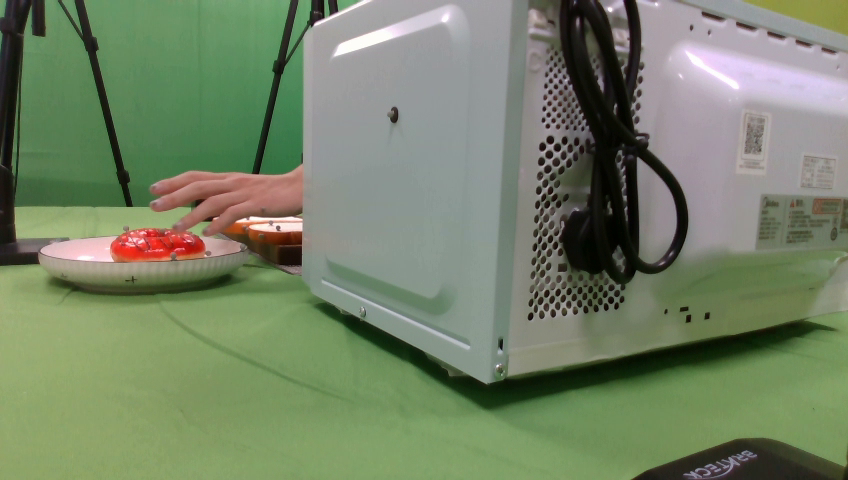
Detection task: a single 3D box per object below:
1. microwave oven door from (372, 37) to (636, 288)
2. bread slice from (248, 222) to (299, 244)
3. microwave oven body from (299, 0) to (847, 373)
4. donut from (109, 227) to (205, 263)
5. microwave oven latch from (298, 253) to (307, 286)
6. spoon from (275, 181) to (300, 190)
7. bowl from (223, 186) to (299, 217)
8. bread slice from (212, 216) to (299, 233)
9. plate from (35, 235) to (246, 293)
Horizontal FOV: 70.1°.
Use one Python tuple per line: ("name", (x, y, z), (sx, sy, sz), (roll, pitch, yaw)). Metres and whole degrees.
("microwave oven door", (0.109, -0.080, 0.686), (0.358, 0.243, 0.039), (-2, 9, -33))
("bread slice", (-0.174, -0.011, 0.844), (0.135, 0.018, 0.106), (-6, 10, -44))
("microwave oven body", (0.151, -0.055, 0.542), (0.444, 0.260, 0.324), (-2, 7, -33))
("donut", (-0.298, 0.013, 0.680), (0.099, 0.048, 0.099), (4, 10, 0))
("microwave oven latch", (-0.081, 0.027, 0.582), (0.079, 0.029, 0.030), (-1, 7, -31))
("spoon", (-0.301, -0.101, 1.260), (0.041, 0.021, 0.194), (12, 29, 33))
("bowl", (-0.330, -0.068, 1.230), (0.151, 0.077, 0.151), (3, 7, 0))
("bread slice", (-0.256, -0.025, 0.936), (0.132, 0.019, 0.104), (-3, 8, -40))
("plate", (-0.305, 0.026, 0.668), (0.208, 0.039, 0.207), (2, 7, 0))
